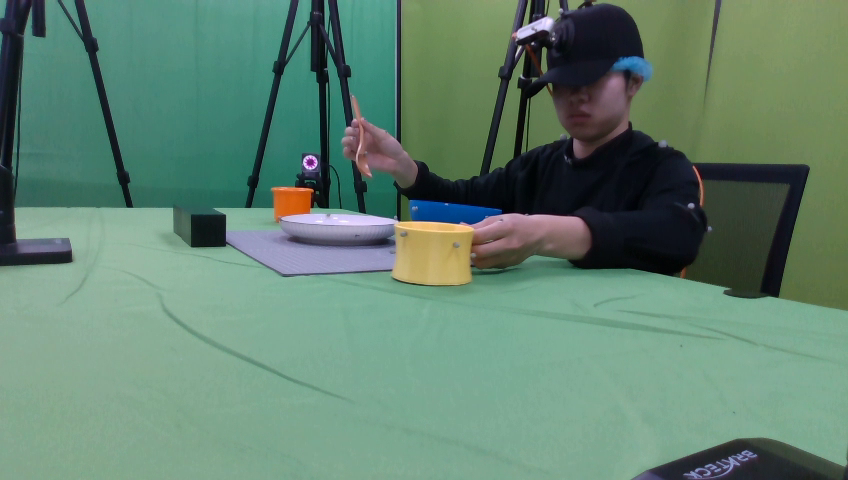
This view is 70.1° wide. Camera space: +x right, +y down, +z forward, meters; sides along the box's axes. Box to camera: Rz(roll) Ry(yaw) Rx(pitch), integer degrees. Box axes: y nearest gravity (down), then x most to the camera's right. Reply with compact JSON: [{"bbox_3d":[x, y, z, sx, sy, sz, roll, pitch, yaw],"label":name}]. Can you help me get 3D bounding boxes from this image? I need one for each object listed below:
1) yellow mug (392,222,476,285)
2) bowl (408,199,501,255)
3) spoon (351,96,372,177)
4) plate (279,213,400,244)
[{"bbox_3d":[0.021,0.013,0.754,0.099,0.064,0.131,8,8,36],"label":"yellow mug"},{"bbox_3d":[0.045,-0.019,0.968,0.151,0.077,0.151,7,5,0],"label":"bowl"},{"bbox_3d":[-0.123,-0.202,1.169,0.021,0.193,0.042,-20,-28,25],"label":"spoon"},{"bbox_3d":[-0.147,-0.020,1.060,0.209,0.038,0.209,3,7,0],"label":"plate"}]
